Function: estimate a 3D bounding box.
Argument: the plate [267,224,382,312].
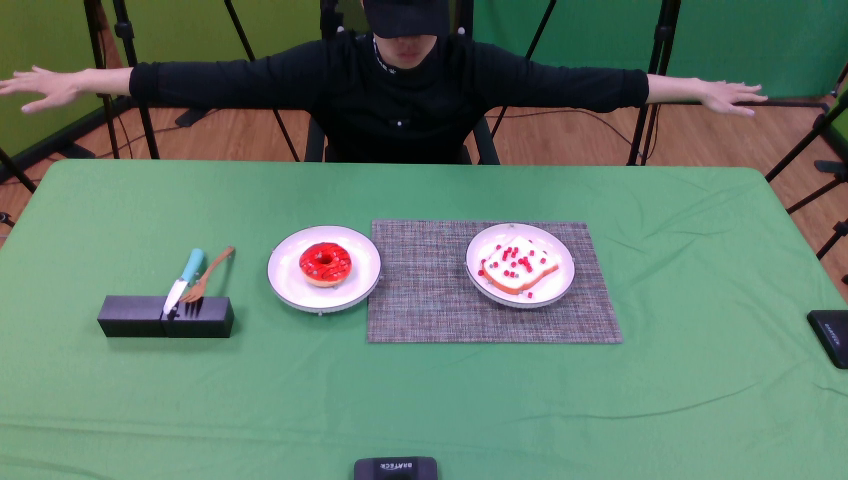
[{"bbox_3d":[-0.182,0.055,1.120,0.208,0.039,0.206,2,46,-2],"label":"plate"}]

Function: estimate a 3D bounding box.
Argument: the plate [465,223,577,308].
[{"bbox_3d":[0.180,0.051,1.144,0.209,0.038,0.208,2,45,-2],"label":"plate"}]

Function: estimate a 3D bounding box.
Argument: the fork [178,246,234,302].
[{"bbox_3d":[-0.380,0.057,1.075,0.028,0.019,0.206,2,28,5],"label":"fork"}]

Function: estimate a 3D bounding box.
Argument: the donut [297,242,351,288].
[{"bbox_3d":[-0.182,0.045,1.112,0.099,0.048,0.098,4,45,-4],"label":"donut"}]

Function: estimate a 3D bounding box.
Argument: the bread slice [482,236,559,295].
[{"bbox_3d":[0.177,0.050,1.148,0.131,0.019,0.104,-32,55,-30],"label":"bread slice"}]

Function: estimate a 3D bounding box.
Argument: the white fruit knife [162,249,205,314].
[{"bbox_3d":[-0.420,0.070,1.063,0.027,0.016,0.206,-1,29,-3],"label":"white fruit knife"}]
